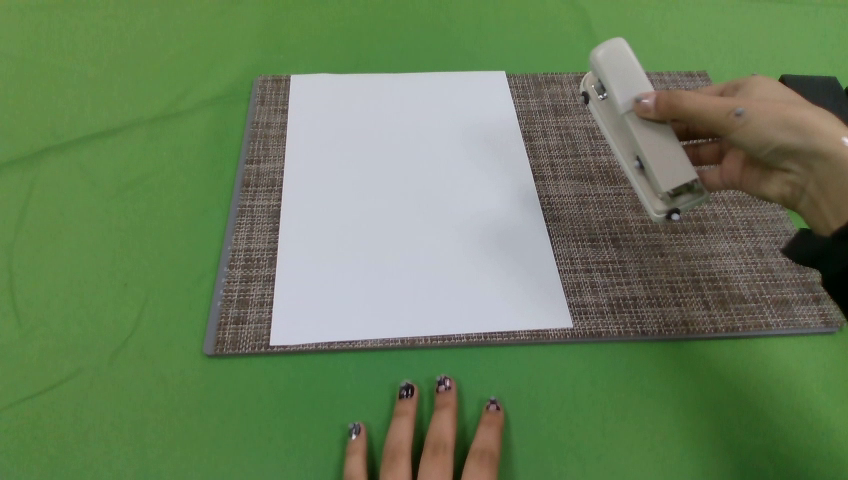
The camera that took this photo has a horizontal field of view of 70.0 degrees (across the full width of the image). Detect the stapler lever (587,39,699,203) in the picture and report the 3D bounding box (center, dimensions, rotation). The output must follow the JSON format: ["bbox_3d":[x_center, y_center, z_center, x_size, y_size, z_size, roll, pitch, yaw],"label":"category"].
[{"bbox_3d":[0.146,-0.083,0.408,0.027,0.040,0.117,-27,68,12],"label":"stapler lever"}]

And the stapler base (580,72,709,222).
[{"bbox_3d":[0.153,-0.078,0.431,0.041,0.024,0.129,-27,69,12],"label":"stapler base"}]
